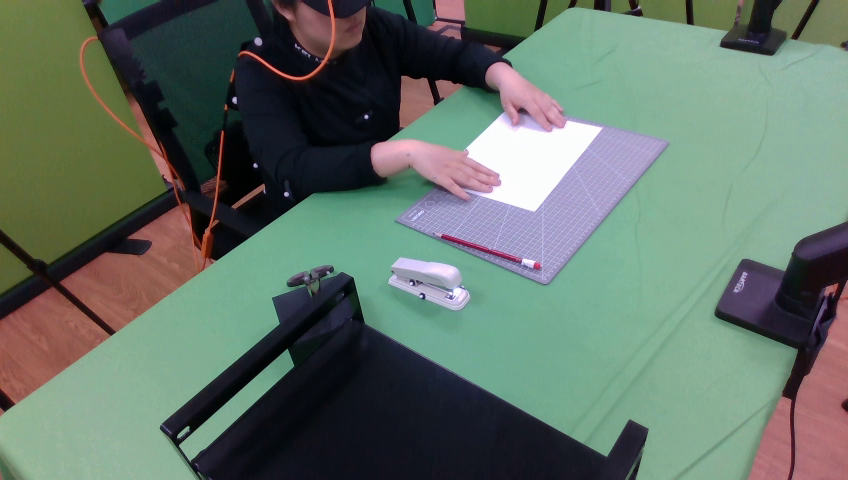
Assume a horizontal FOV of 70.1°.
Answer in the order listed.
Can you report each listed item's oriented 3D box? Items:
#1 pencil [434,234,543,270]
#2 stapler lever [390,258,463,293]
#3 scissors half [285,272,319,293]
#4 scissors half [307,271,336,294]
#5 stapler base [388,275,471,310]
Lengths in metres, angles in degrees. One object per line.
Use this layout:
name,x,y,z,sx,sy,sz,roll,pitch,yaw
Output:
pencil,0.097,0.015,0.949,0.192,0.012,0.012,17,46,29
stapler lever,0.003,0.046,0.881,0.117,0.040,0.027,17,43,29
scissors half,-0.171,0.064,0.868,0.040,0.013,0.174,-11,7,-21
scissors half,-0.151,0.061,0.872,0.040,0.013,0.175,-4,6,-4
stapler base,0.007,0.066,0.897,0.129,0.024,0.041,17,43,29
